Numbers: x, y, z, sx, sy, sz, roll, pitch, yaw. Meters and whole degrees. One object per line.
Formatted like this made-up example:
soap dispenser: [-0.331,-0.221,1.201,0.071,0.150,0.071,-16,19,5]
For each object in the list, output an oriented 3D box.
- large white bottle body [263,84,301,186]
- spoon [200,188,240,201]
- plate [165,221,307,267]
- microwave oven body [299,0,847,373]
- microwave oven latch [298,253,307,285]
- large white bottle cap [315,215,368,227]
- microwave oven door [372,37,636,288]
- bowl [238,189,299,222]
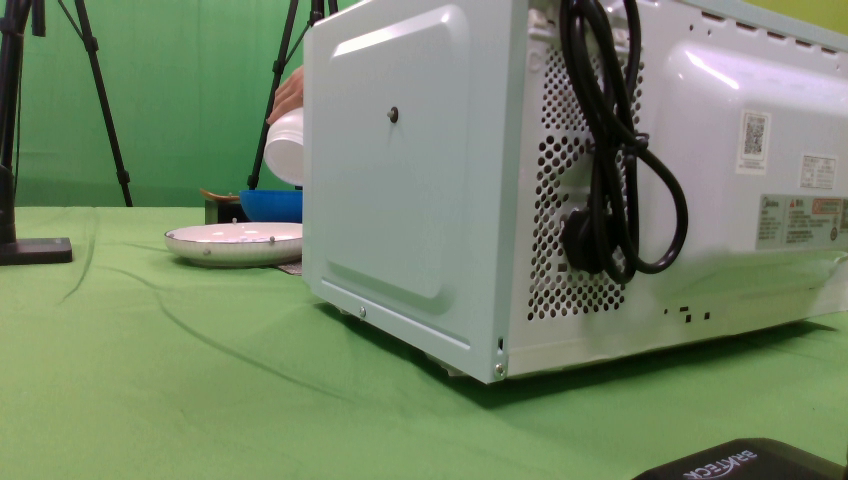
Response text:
large white bottle body: [-0.217,-0.201,1.143,0.130,0.131,0.184,4,47,14]
spoon: [-0.338,-0.080,1.190,0.194,0.021,0.041,5,3,-19]
plate: [-0.241,0.004,0.829,0.209,0.038,0.209,0,9,0]
microwave oven body: [0.151,-0.055,0.542,0.444,0.260,0.324,-2,7,-33]
microwave oven latch: [-0.081,0.027,0.582,0.079,0.029,0.030,-1,7,-32]
large white bottle cap: [-0.177,-0.041,1.309,0.115,0.018,0.115,2,6,0]
microwave oven door: [0.110,-0.080,0.686,0.358,0.243,0.039,-2,9,-33]
bowl: [-0.245,-0.046,1.052,0.151,0.077,0.151,2,8,0]
